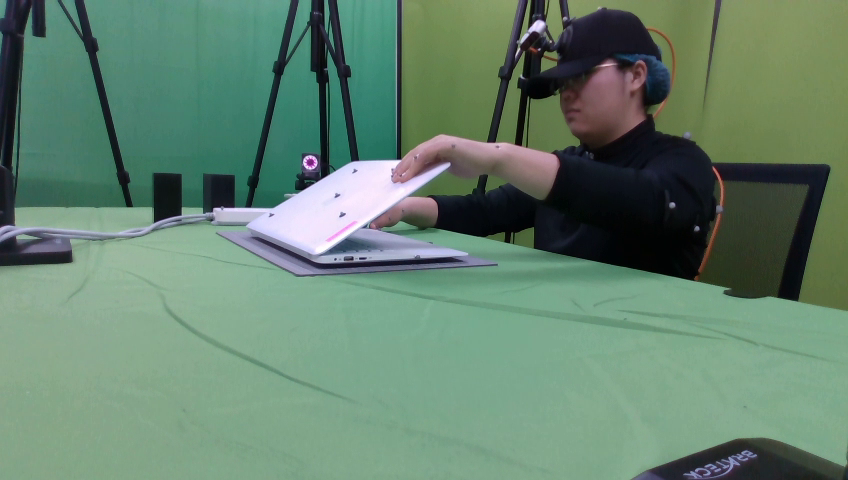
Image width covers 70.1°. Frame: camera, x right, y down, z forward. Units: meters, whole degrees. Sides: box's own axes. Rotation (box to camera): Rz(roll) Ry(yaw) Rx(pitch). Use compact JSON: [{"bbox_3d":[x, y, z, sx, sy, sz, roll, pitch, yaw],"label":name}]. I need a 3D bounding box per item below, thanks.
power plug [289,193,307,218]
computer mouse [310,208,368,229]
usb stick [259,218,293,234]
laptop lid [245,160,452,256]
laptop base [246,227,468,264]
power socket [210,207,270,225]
[{"bbox_3d":[-0.281,-0.076,1.340,0.035,0.052,0.072,3,6,-18],"label":"power plug"},{"bbox_3d":[-0.179,-0.044,1.274,0.118,0.041,0.062,-6,13,-29],"label":"computer mouse"},{"bbox_3d":[-0.272,-0.025,1.108,0.059,0.027,0.021,-3,14,-28],"label":"usb stick"},{"bbox_3d":[-0.134,-0.065,0.935,0.242,0.013,0.355,-35,23,-20],"label":"laptop lid"},{"bbox_3d":[-0.122,0.006,0.954,0.237,0.023,0.352,2,6,-31],"label":"laptop base"},{"bbox_3d":[-0.335,-0.051,1.282,0.228,0.032,0.072,-1,9,-28],"label":"power socket"}]
